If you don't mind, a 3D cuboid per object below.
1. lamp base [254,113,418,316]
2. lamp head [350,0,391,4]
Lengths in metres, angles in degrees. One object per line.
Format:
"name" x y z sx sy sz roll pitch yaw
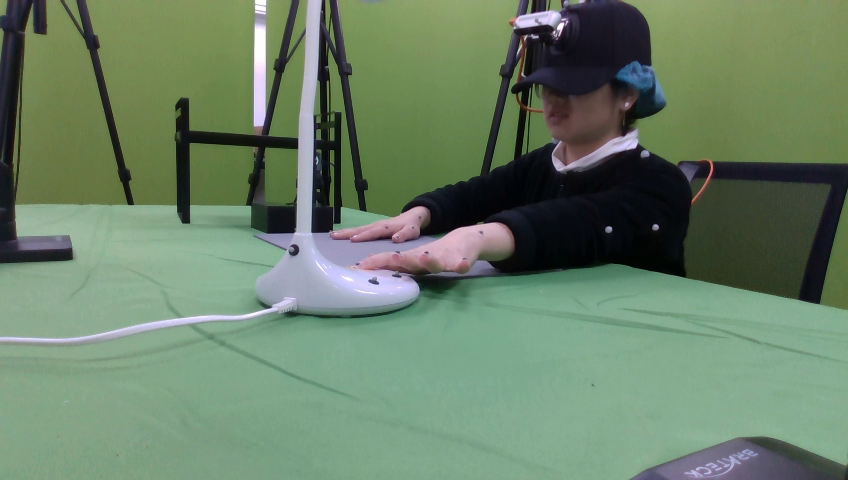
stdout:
"lamp base" -0.086 -0.027 0.577 0.160 0.180 0.179 4 10 16
"lamp head" -0.053 -0.313 0.598 0.112 0.112 0.123 6 -28 25
